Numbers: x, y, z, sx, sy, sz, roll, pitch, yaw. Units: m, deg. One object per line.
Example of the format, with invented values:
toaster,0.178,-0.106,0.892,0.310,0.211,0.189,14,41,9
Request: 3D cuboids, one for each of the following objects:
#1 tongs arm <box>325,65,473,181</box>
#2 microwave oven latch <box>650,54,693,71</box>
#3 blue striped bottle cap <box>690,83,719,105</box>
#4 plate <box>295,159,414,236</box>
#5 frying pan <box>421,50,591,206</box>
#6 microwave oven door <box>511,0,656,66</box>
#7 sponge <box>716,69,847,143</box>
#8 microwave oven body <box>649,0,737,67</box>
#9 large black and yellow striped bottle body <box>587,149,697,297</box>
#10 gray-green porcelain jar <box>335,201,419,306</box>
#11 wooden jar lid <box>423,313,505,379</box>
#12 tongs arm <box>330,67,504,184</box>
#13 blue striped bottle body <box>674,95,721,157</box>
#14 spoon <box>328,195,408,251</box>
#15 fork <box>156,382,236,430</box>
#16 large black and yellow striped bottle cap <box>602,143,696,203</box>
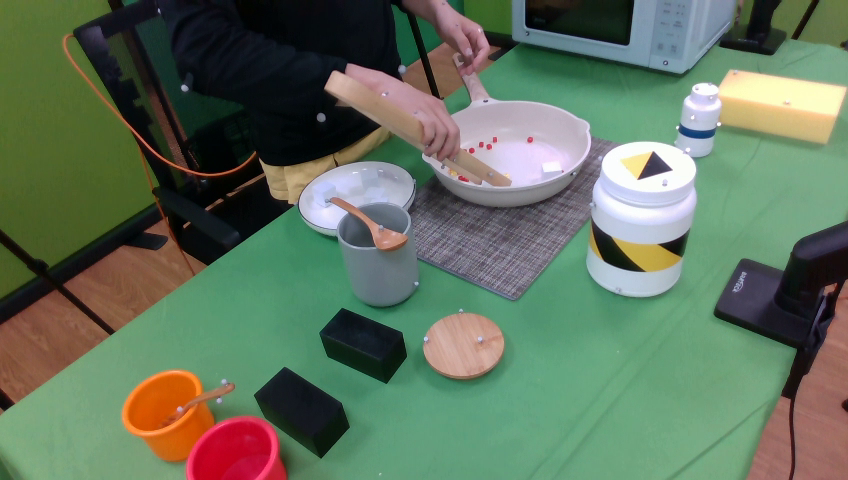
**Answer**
tongs arm,-0.001,-0.150,0.899,0.050,0.388,0.026,34,95,46
microwave oven latch,0.531,-0.386,1.301,0.078,0.029,0.030,26,51,33
blue striped bottle cap,0.481,-0.251,1.038,0.044,0.021,0.044,-5,40,5
plate,-0.118,-0.070,1.055,0.207,0.039,0.206,-5,40,4
frying pan,0.127,-0.233,1.155,0.307,0.103,0.484,-11,49,-5
microwave oven door,0.350,-0.539,1.349,0.353,0.245,0.039,24,50,31
sponge,0.663,-0.256,1.142,0.205,0.061,0.118,19,47,28
microwave oven body,0.475,-0.602,1.411,0.438,0.261,0.327,23,50,32
large black and yellow striped bottle body,0.298,-0.026,0.835,0.131,0.185,0.130,-4,41,4
gray-green porcelain jar,-0.064,0.024,0.872,0.106,0.127,0.105,-4,41,4
wooden jar lid,0.053,0.142,0.800,0.108,0.021,0.108,-5,39,4
tongs arm,0.015,-0.140,0.882,0.028,0.391,0.028,38,98,42
blue striped bottle body,0.486,-0.213,1.071,0.063,0.121,0.063,-4,41,4
spoon,-0.083,-0.029,0.829,0.042,0.022,0.192,-30,42,-22
fork,-0.262,0.189,0.690,0.018,0.206,0.028,49,43,-7
large black and yellow striped bottle cap,0.289,-0.088,0.779,0.115,0.019,0.114,-5,39,4
